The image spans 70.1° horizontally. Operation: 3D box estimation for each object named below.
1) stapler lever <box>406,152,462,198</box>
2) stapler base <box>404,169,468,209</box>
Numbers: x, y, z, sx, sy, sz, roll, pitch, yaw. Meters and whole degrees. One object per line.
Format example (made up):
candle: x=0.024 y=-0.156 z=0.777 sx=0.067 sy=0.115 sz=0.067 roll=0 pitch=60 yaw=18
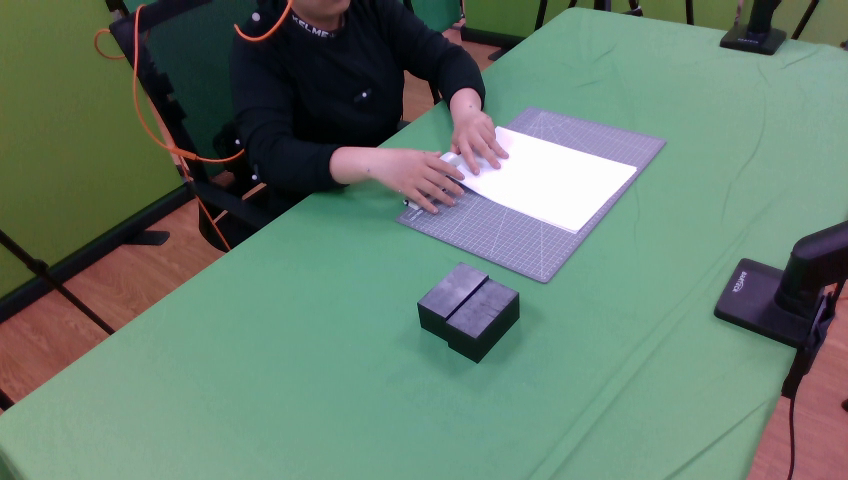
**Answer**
stapler lever: x=0.018 y=-0.117 z=1.071 sx=0.118 sy=0.040 sz=0.026 roll=-33 pitch=43 yaw=-27
stapler base: x=0.022 y=-0.100 z=1.088 sx=0.131 sy=0.024 sz=0.041 roll=-34 pitch=44 yaw=-26
